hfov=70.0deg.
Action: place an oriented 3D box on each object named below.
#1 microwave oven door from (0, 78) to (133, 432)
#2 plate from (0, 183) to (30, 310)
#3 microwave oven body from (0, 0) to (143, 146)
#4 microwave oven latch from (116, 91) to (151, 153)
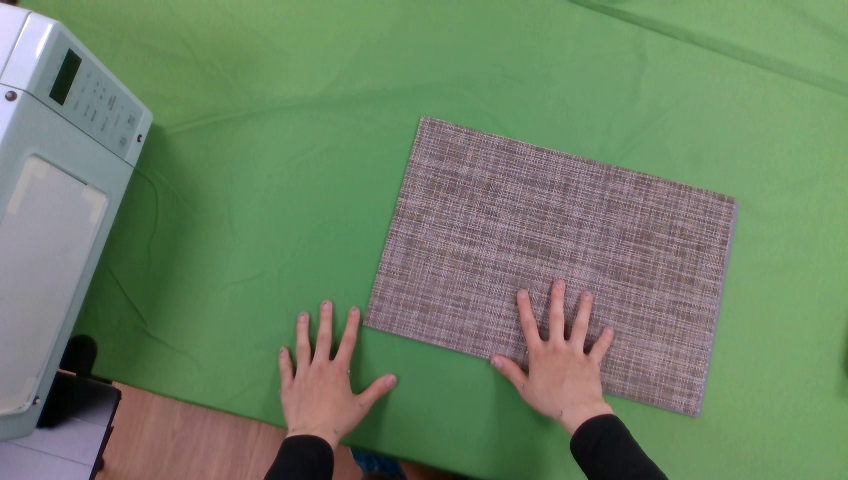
[{"bbox_3d":[-0.441,0.035,0.652,0.039,0.244,0.354,15,80,1],"label":"microwave oven door"},{"bbox_3d":[-0.568,0.013,0.714,0.209,0.038,0.208,1,83,-3],"label":"plate"},{"bbox_3d":[-0.570,-0.044,0.664,0.326,0.261,0.440,16,81,0],"label":"microwave oven body"},{"bbox_3d":[-0.382,-0.156,0.787,0.030,0.029,0.079,18,81,0],"label":"microwave oven latch"}]
